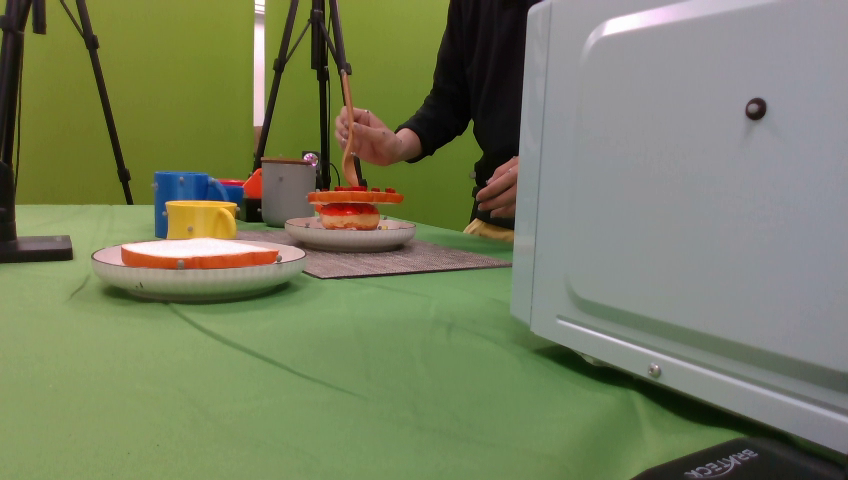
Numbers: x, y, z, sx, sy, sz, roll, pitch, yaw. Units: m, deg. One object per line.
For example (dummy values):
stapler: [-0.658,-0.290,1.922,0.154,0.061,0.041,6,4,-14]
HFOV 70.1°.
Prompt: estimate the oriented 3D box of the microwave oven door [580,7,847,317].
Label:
microwave oven door: [0.295,-0.067,0.570,0.358,0.243,0.039,-3,9,-31]

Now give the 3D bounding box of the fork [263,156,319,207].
fork: [-0.331,-0.144,1.506,0.207,0.018,0.028,-42,-20,22]

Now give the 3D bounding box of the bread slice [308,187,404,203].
bread slice: [-0.114,-0.070,0.953,0.134,0.018,0.107,-1,1,21]

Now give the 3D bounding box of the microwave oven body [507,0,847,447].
microwave oven body: [0.331,-0.042,0.425,0.444,0.260,0.324,-2,8,-31]

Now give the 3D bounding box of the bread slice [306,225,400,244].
bread slice: [-0.104,-0.009,0.961,0.131,0.019,0.105,1,8,24]

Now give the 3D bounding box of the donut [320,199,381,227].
donut: [-0.117,-0.042,0.965,0.099,0.048,0.099,-9,-7,-1]

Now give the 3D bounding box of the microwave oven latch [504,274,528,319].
microwave oven latch: [0.100,0.041,0.470,0.079,0.029,0.030,-1,7,-27]

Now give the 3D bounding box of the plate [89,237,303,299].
plate: [-0.233,0.029,0.636,0.208,0.039,0.207,2,7,0]

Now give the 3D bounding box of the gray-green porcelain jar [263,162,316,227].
gray-green porcelain jar: [-0.271,-0.092,1.217,0.106,0.126,0.106,2,7,0]

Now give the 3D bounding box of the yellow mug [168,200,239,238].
yellow mug: [-0.320,-0.023,0.904,0.130,0.064,0.100,9,11,36]

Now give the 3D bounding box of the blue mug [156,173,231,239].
blue mug: [-0.381,-0.057,1.004,0.117,0.106,0.082,0,8,-12]

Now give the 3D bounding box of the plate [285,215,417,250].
plate: [-0.116,-0.014,0.964,0.209,0.038,0.209,2,7,0]

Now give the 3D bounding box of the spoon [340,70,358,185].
spoon: [-0.123,-0.184,0.986,0.021,0.193,0.042,-5,-7,24]

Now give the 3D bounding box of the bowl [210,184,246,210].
bowl: [-0.422,-0.067,1.166,0.151,0.077,0.151,2,7,0]

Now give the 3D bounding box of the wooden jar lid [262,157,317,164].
wooden jar lid: [-0.269,-0.154,1.208,0.108,0.020,0.108,3,4,0]

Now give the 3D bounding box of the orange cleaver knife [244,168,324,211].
orange cleaver knife: [-0.300,-0.089,1.351,0.212,0.077,0.012,28,-9,-34]
